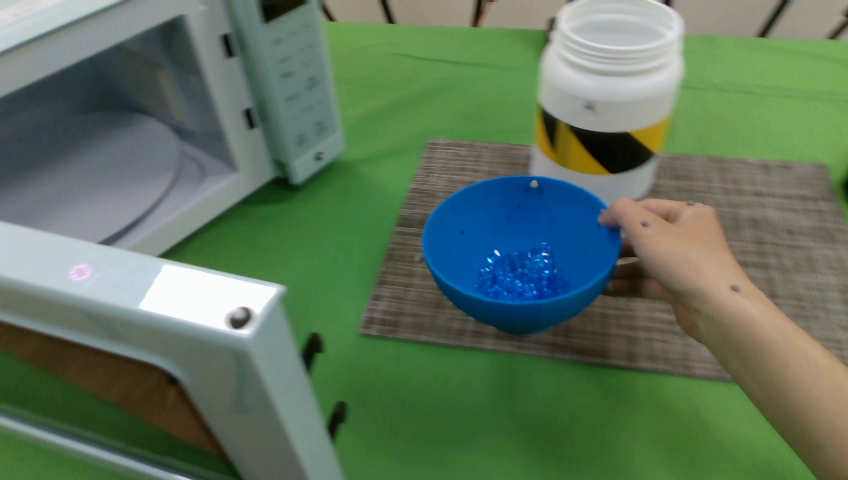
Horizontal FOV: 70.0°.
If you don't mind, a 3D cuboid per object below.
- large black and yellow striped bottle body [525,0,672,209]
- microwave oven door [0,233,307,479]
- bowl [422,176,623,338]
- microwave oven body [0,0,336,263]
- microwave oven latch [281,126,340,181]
[{"bbox_3d":[0.172,-0.135,0.613,0.131,0.186,0.129,-2,45,3],"label":"large black and yellow striped bottle body"},{"bbox_3d":[-0.223,0.081,0.373,0.354,0.246,0.039,10,47,15],"label":"microwave oven door"},{"bbox_3d":[0.077,0.024,0.483,0.151,0.077,0.150,-4,42,4],"label":"bowl"},{"bbox_3d":[-0.363,-0.127,0.597,0.323,0.263,0.441,28,55,28],"label":"microwave oven body"},{"bbox_3d":[-0.131,-0.102,0.690,0.030,0.030,0.079,30,55,29],"label":"microwave oven latch"}]
